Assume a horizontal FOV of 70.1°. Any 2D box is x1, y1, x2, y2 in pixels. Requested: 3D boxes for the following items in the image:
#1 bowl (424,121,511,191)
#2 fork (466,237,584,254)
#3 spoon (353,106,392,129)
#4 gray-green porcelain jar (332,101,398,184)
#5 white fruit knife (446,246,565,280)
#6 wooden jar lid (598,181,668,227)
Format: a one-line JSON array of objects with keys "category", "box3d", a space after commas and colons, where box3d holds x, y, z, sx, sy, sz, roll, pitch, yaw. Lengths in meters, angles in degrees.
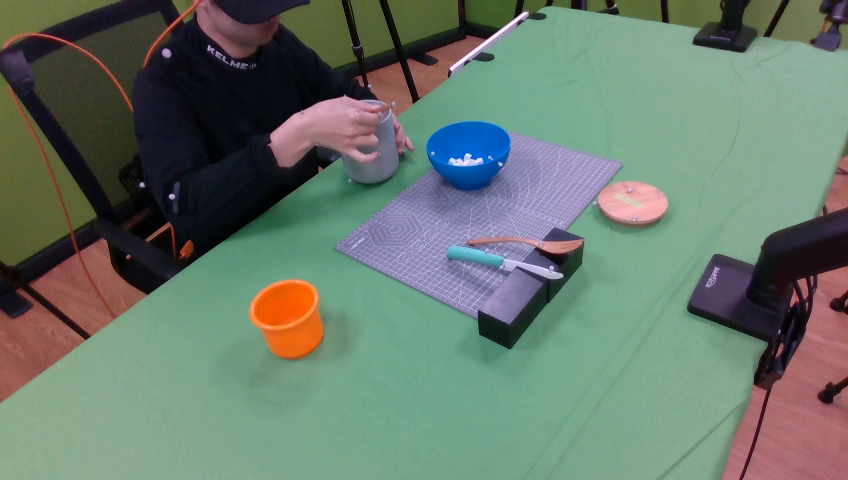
[{"category": "bowl", "box3d": [0.081, -0.140, 1.074, 0.151, 0.077, 0.150, -4, 40, 4]}, {"category": "fork", "box3d": [0.142, 0.005, 0.894, 0.205, 0.019, 0.028, 4, 43, 41]}, {"category": "spoon", "box3d": [-0.088, -0.210, 1.039, 0.042, 0.021, 0.193, -16, 3, -17]}, {"category": "gray-green porcelain jar", "box3d": [-0.105, -0.174, 1.109, 0.106, 0.127, 0.105, -4, 40, 4]}, {"category": "white fruit knife", "box3d": [0.111, 0.033, 0.868, 0.205, 0.027, 0.016, 11, 44, 40]}, {"category": "wooden jar lid", "box3d": [0.340, -0.058, 0.989, 0.108, 0.021, 0.108, -5, 41, 5]}]
